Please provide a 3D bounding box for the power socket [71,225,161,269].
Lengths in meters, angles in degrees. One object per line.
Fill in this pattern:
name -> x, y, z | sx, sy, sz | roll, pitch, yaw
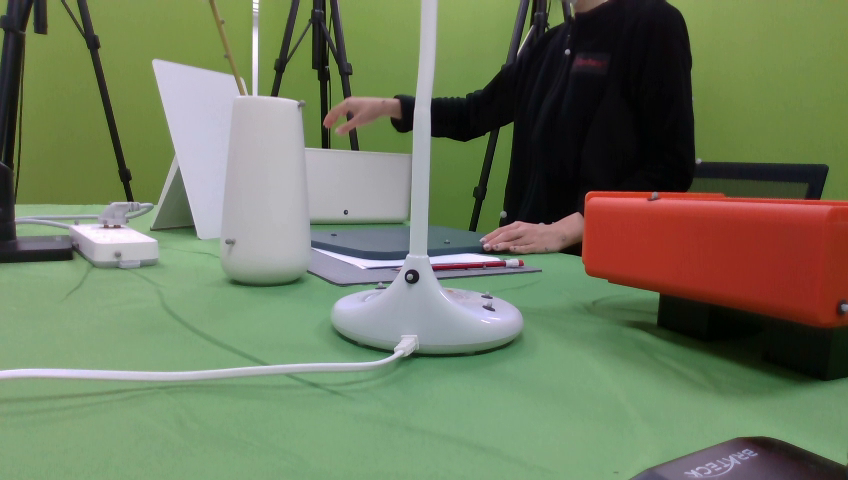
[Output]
power socket -> -0.408, 0.004, 0.793 | 0.072, 0.032, 0.225 | -2, 8, -38

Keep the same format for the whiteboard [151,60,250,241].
whiteboard -> -0.408, -0.140, 1.094 | 0.143, 0.305, 0.218 | -15, 0, 25

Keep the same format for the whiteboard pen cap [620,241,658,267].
whiteboard pen cap -> 0.199, 0.013, 0.557 | 0.018, 0.018, 0.033 | -4, 17, -39

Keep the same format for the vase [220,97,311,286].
vase -> -0.172, -0.052, 0.662 | 0.098, 0.200, 0.098 | 3, 8, 0

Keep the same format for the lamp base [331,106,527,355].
lamp base -> 0.006, -0.012, 0.478 | 0.161, 0.180, 0.179 | 2, 10, 2

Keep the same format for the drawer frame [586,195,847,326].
drawer frame -> 0.284, 0.004, 0.508 | 0.203, 0.082, 0.212 | -1, 6, -28

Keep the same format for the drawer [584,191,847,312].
drawer -> 0.280, 0.001, 0.513 | 0.195, 0.073, 0.211 | 0, 8, -28

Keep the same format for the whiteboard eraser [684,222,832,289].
whiteboard eraser -> 0.305, 0.013, 0.558 | 0.056, 0.042, 0.112 | -9, 19, -30

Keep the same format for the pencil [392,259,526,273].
pencil -> 0.049, 0.035, 0.782 | 0.195, 0.012, 0.012 | -3, 9, -25

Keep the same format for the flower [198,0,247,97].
flower -> -0.187, -0.133, 0.648 | 0.038, 0.362, 0.044 | 0, 22, 43

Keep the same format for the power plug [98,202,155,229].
power plug -> -0.416, -0.027, 0.848 | 0.073, 0.052, 0.035 | 0, 8, -28

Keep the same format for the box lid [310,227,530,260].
box lid -> -0.024, 0.001, 1.023 | 0.374, 0.015, 0.262 | -4, 9, -44

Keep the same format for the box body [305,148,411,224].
box body -> -0.233, -0.127, 1.374 | 0.366, 0.160, 0.253 | -2, 8, -29

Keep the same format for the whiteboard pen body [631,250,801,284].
whiteboard pen body -> 0.240, 0.020, 0.512 | 0.017, 0.017, 0.140 | -4, 8, -41

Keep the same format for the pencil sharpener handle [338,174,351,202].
pencil sharpener handle -> -0.190, -0.126, 1.459 | 0.031, 0.067, 0.036 | -1, 10, -30

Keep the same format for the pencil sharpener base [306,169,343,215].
pencil sharpener base -> -0.234, -0.113, 1.433 | 0.077, 0.107, 0.061 | -1, 6, -30
